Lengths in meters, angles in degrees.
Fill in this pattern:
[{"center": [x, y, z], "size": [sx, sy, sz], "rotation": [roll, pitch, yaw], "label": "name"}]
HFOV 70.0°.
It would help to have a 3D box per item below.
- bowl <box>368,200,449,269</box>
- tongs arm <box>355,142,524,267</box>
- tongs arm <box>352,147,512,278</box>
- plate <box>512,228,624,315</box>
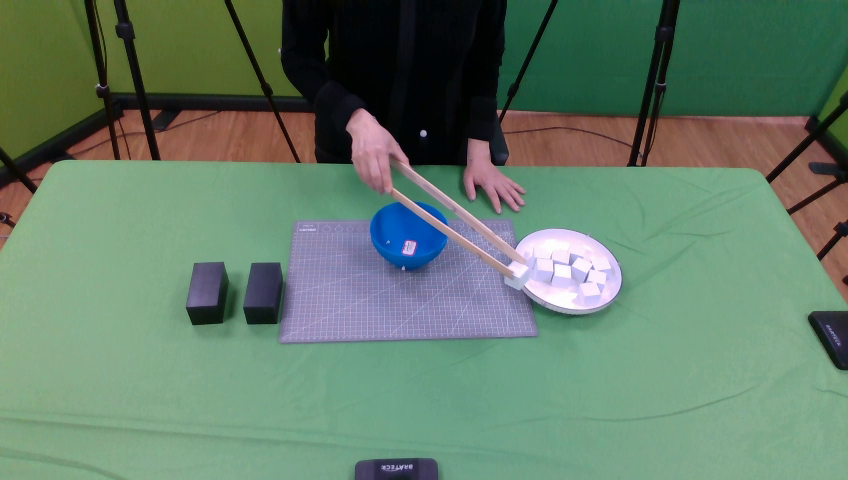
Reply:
[{"center": [-0.031, 0.002, 1.151], "size": [0.151, 0.077, 0.150], "rotation": [2, 46, -2], "label": "bowl"}, {"center": [0.018, -0.066, 1.082], "size": [0.051, 0.026, 0.383], "rotation": [-37, 64, -24], "label": "tongs arm"}, {"center": [0.002, -0.052, 1.071], "size": [0.386, 0.028, 0.028], "rotation": [37, 65, 21], "label": "tongs arm"}, {"center": [0.268, 0.063, 1.146], "size": [0.208, 0.039, 0.206], "rotation": [3, 46, -3], "label": "plate"}]
